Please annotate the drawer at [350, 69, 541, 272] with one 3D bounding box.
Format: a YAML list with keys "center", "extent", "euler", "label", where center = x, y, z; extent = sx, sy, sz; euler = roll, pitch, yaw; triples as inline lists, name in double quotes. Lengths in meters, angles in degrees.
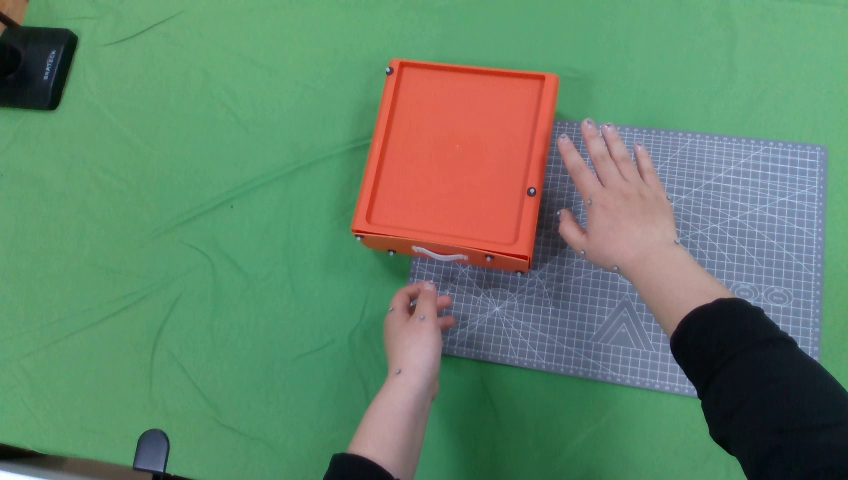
- center: [0.035, -0.081, 0.697]
  extent: [0.194, 0.074, 0.211]
  euler: [8, 77, 11]
  label: "drawer"

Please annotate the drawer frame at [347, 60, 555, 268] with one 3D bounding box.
- center: [0.035, -0.086, 0.697]
  extent: [0.201, 0.083, 0.212]
  euler: [8, 77, 11]
  label: "drawer frame"

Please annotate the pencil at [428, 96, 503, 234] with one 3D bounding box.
- center: [0.050, -0.091, 0.724]
  extent: [0.012, 0.012, 0.193]
  euler: [-27, 77, 1]
  label: "pencil"
